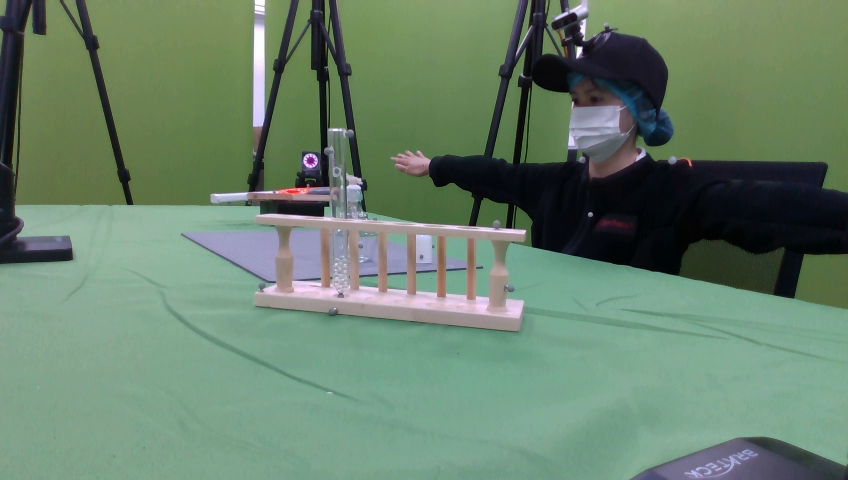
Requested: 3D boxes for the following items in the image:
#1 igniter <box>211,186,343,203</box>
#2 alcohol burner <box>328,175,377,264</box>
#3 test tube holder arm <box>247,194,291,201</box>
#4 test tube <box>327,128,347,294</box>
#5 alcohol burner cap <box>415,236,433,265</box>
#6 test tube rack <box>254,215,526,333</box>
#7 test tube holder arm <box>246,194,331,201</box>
[{"bbox_3d":[-0.300,-0.095,1.266,0.278,0.025,0.057,-6,12,-34],"label":"igniter"},{"bbox_3d":[-0.098,-0.028,0.819,0.078,0.119,0.078,1,8,0],"label":"alcohol burner"},{"bbox_3d":[-0.308,-0.085,1.206,0.088,0.015,0.010,-3,2,-34],"label":"test tube holder arm"},{"bbox_3d":[-0.079,-0.025,0.545,0.017,0.150,0.017,0,9,0],"label":"test tube"},{"bbox_3d":[-0.004,0.011,0.835,0.034,0.048,0.034,2,7,0],"label":"alcohol burner cap"},{"bbox_3d":[-0.030,0.025,0.558,0.242,0.085,0.067,4,7,12],"label":"test tube rack"},{"bbox_3d":[-0.274,-0.087,1.236,0.179,0.015,0.013,-3,2,-35],"label":"test tube holder arm"}]
